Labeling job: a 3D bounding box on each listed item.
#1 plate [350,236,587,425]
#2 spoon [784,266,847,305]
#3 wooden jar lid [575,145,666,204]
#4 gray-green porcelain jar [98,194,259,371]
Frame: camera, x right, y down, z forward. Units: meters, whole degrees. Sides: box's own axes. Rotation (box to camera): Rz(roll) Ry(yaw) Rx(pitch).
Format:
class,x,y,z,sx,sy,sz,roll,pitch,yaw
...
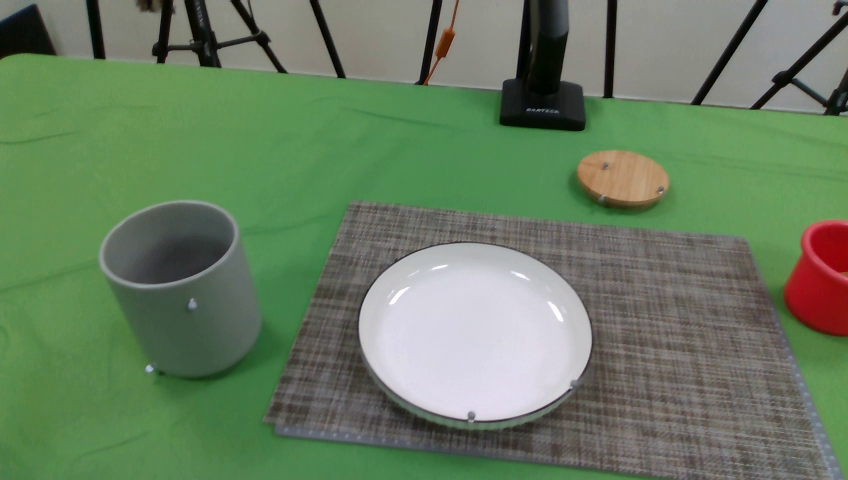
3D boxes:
class,x,y,z,sx,sy,sz,roll,pitch,yaw
plate,0.039,0.079,0.546,0.208,0.039,0.205,1,43,-1
spoon,0.434,0.016,0.551,0.193,0.022,0.041,-31,29,34
wooden jar lid,0.239,-0.080,0.743,0.108,0.021,0.107,1,44,-1
gray-green porcelain jar,-0.202,0.042,0.520,0.106,0.127,0.105,1,43,-1
